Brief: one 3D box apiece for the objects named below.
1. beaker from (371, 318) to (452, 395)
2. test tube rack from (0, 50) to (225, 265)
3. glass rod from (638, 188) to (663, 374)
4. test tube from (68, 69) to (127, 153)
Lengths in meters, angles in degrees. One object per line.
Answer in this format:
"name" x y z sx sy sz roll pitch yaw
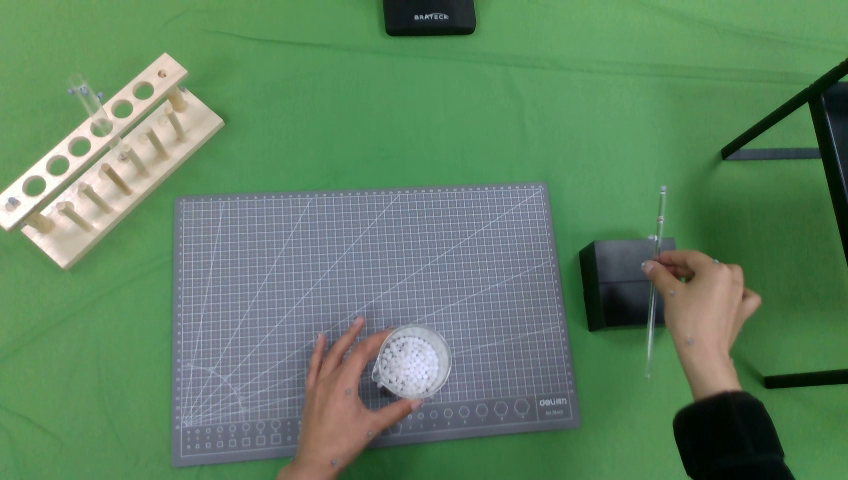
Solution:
"beaker" -0.018 0.129 0.644 0.084 0.100 0.073 -19 78 -12
"test tube rack" -0.339 -0.090 0.668 0.066 0.085 0.242 40 74 5
"glass rod" 0.241 0.045 0.645 0.008 0.008 0.200 4 94 -6
"test tube" -0.333 -0.128 0.627 0.017 0.151 0.017 3 71 -10
